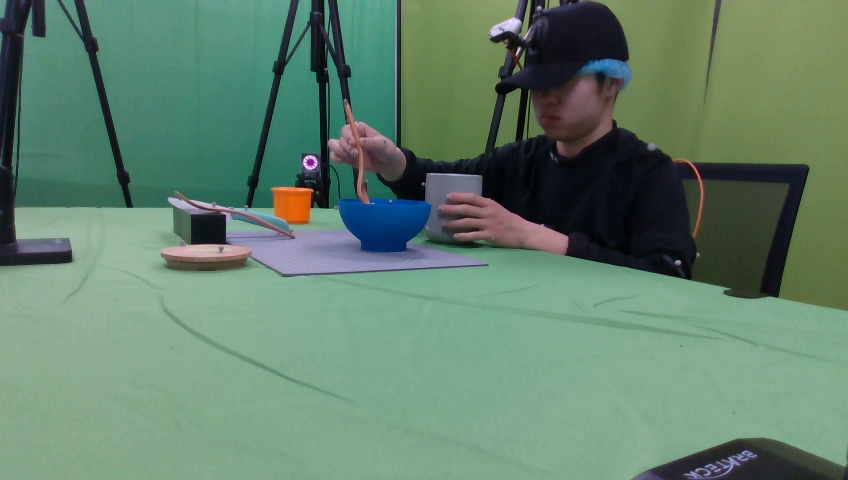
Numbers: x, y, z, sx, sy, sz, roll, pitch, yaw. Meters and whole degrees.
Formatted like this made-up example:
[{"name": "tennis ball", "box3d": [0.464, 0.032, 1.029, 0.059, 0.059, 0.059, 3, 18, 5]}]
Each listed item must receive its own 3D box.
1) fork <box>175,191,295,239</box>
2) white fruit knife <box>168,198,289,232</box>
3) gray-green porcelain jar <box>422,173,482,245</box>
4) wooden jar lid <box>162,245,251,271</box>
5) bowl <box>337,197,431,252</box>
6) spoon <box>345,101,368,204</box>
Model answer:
[{"name": "fork", "box3d": [-0.306, -0.039, 0.993, 0.208, 0.018, 0.028, 19, -9, -34]}, {"name": "white fruit knife", "box3d": [-0.329, -0.044, 1.036, 0.208, 0.027, 0.016, 14, -1, -32]}, {"name": "gray-green porcelain jar", "box3d": [0.050, -0.058, 1.115, 0.106, 0.126, 0.106, 3, 8, 0]}, {"name": "wooden jar lid", "box3d": [-0.278, 0.022, 0.777, 0.108, 0.020, 0.108, 2, 6, 0]}, {"name": "bowl", "box3d": [-0.066, -0.024, 0.966, 0.151, 0.077, 0.151, 3, 8, 0]}, {"name": "spoon", "box3d": [-0.107, -0.135, 0.987, 0.021, 0.193, 0.042, -9, -7, 12]}]
